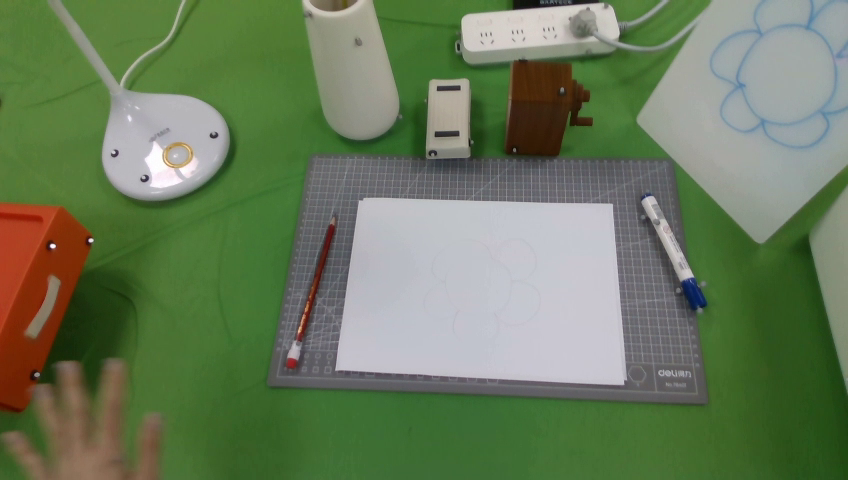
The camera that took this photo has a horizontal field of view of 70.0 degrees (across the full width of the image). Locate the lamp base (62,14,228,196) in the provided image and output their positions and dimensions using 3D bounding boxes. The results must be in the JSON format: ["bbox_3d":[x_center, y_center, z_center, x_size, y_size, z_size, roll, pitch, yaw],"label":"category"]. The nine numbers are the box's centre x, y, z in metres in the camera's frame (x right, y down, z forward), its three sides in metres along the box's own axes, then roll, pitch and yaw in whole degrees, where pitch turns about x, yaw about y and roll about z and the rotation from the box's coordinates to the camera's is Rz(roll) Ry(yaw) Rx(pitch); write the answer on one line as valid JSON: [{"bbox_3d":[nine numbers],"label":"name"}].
[{"bbox_3d":[-0.345,-0.167,0.711,0.178,0.182,0.160,32,68,21],"label":"lamp base"}]

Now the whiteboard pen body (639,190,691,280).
[{"bbox_3d":[0.272,0.004,0.675,0.017,0.017,0.139,-13,62,-3],"label":"whiteboard pen body"}]

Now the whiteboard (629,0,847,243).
[{"bbox_3d":[0.407,-0.185,0.642,0.144,0.307,0.215,-19,61,-28],"label":"whiteboard"}]

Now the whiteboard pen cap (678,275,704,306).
[{"bbox_3d":[0.284,0.053,0.646,0.018,0.018,0.033,-13,62,-3],"label":"whiteboard pen cap"}]

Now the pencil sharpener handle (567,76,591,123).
[{"bbox_3d":[0.184,-0.161,0.706,0.030,0.068,0.035,4,61,5],"label":"pencil sharpener handle"}]

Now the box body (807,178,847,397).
[{"bbox_3d":[0.529,0.098,0.535,0.254,0.162,0.361,1,63,4],"label":"box body"}]

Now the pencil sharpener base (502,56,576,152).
[{"bbox_3d":[0.134,-0.159,0.722,0.076,0.108,0.061,4,62,5],"label":"pencil sharpener base"}]

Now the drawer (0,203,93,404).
[{"bbox_3d":[-0.479,0.053,0.611,0.211,0.074,0.193,4,64,5],"label":"drawer"}]

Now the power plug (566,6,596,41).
[{"bbox_3d":[0.203,-0.273,0.792,0.035,0.053,0.072,5,65,7],"label":"power plug"}]

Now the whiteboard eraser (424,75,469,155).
[{"bbox_3d":[0.029,-0.155,0.763,0.055,0.042,0.111,1,62,2],"label":"whiteboard eraser"}]

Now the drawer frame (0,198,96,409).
[{"bbox_3d":[-0.485,0.055,0.613,0.213,0.083,0.200,5,64,3],"label":"drawer frame"}]

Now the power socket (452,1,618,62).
[{"bbox_3d":[0.152,-0.285,0.827,0.227,0.033,0.071,-4,63,1],"label":"power socket"}]

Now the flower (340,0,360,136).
[{"bbox_3d":[-0.086,-0.265,0.645,0.038,0.365,0.043,-9,44,-9],"label":"flower"}]

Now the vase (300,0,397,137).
[{"bbox_3d":[-0.089,-0.211,0.710,0.098,0.201,0.097,-2,62,4],"label":"vase"}]

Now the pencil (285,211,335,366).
[{"bbox_3d":[-0.125,0.048,0.682,0.012,0.012,0.192,8,62,8],"label":"pencil"}]
